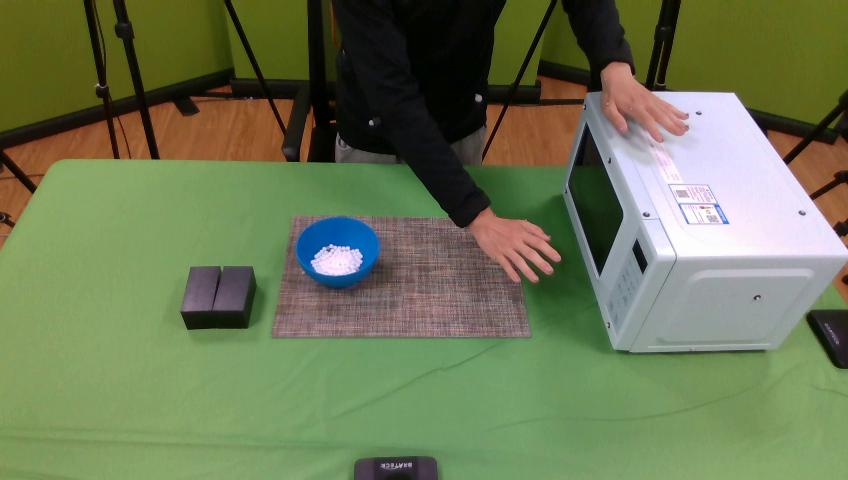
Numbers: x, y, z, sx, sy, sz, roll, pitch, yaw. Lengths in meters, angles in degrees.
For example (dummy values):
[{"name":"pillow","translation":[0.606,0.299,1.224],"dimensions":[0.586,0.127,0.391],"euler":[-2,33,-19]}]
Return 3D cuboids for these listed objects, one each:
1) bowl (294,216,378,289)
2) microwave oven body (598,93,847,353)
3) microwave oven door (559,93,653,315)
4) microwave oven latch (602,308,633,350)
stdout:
[{"name":"bowl","translation":[-0.158,0.036,1.110],"dimensions":[0.151,0.077,0.150],"euler":[3,45,-2]},{"name":"microwave oven body","translation":[0.475,-0.041,1.109],"dimensions":[0.326,0.261,0.438],"euler":[-1,45,-4]},{"name":"microwave oven door","translation":[0.327,-0.074,1.123],"dimensions":[0.039,0.245,0.353],"euler":[-1,46,-5]},{"name":"microwave oven latch","translation":[0.332,0.152,1.044],"dimensions":[0.030,0.029,0.078],"euler":[-1,45,-4]}]
